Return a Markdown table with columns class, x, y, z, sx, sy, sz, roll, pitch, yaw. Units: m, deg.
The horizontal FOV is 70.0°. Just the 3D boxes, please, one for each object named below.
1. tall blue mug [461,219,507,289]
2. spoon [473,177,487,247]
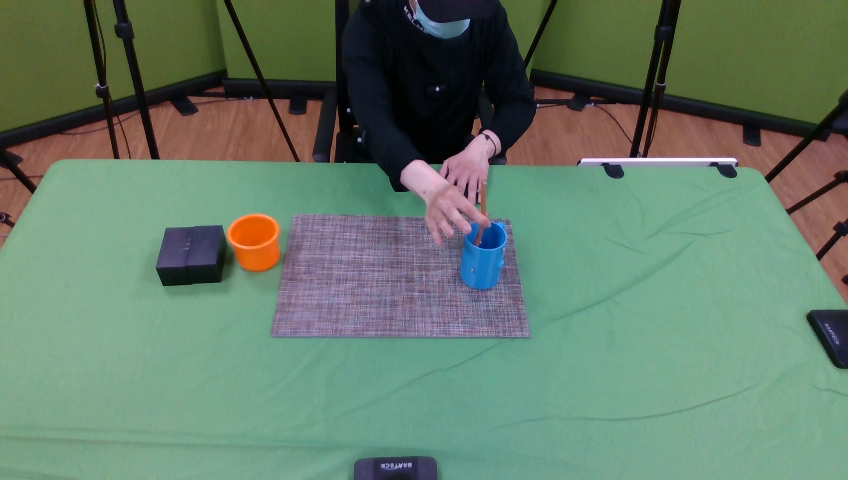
| class | x | y | z | sx | sy | sz | roll | pitch | yaw |
| --- | --- | --- | --- | --- | --- | --- | --- | --- | --- |
| tall blue mug | 0.111 | 0.016 | 1.122 | 0.078 | 0.108 | 0.106 | 6 | 46 | 4 |
| spoon | 0.099 | -0.027 | 1.058 | 0.021 | 0.194 | 0.041 | 2 | 37 | -3 |
